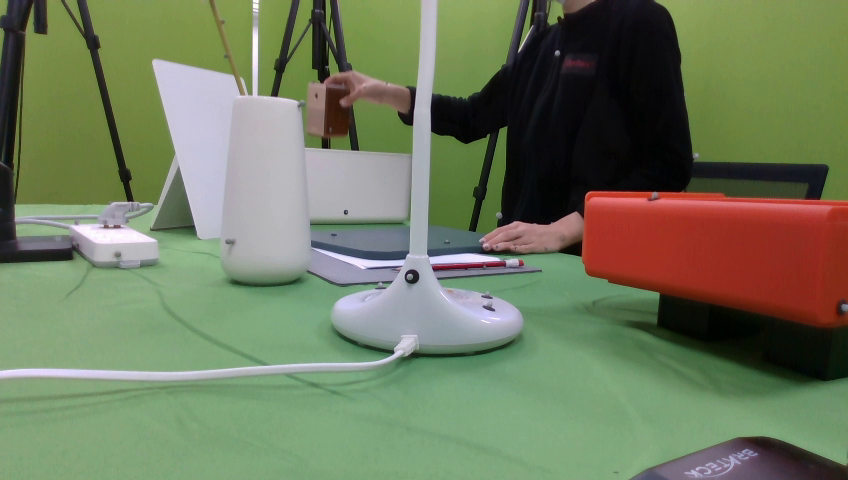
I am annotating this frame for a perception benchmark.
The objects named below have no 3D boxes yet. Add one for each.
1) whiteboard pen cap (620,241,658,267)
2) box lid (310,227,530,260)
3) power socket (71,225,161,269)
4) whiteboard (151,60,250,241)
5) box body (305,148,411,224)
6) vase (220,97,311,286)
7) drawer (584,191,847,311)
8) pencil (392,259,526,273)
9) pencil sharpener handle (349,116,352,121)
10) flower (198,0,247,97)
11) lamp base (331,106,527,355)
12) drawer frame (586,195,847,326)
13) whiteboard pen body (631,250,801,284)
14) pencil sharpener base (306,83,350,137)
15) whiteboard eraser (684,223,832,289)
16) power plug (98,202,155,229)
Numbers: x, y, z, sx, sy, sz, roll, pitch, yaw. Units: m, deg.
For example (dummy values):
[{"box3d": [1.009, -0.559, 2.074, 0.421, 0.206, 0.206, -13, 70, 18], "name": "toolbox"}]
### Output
[{"box3d": [0.199, 0.013, 0.557, 0.018, 0.018, 0.033, -4, 17, -40], "name": "whiteboard pen cap"}, {"box3d": [-0.024, 0.001, 1.023, 0.374, 0.015, 0.262, -4, 9, -44], "name": "box lid"}, {"box3d": [-0.408, 0.004, 0.793, 0.072, 0.032, 0.225, -2, 8, -38], "name": "power socket"}, {"box3d": [-0.408, -0.140, 1.094, 0.143, 0.305, 0.218, -15, 0, 25], "name": "whiteboard"}, {"box3d": [-0.233, -0.127, 1.374, 0.366, 0.160, 0.253, -2, 8, -29], "name": "box body"}, {"box3d": [-0.172, -0.052, 0.662, 0.098, 0.200, 0.098, 3, 8, 0], "name": "vase"}, {"box3d": [0.280, 0.001, 0.513, 0.195, 0.073, 0.211, 0, 8, -28], "name": "drawer"}, {"box3d": [0.049, 0.035, 0.782, 0.195, 0.012, 0.012, -3, 9, -25], "name": "pencil"}, {"box3d": [-0.170, -0.295, 1.325, 0.036, 0.067, 0.031, 16, 18, 36], "name": "pencil sharpener handle"}, {"box3d": [-0.187, -0.133, 0.648, 0.038, 0.362, 0.044, 0, 22, 43], "name": "flower"}, {"box3d": [0.006, -0.012, 0.478, 0.161, 0.180, 0.179, 2, 10, 2], "name": "lamp base"}, {"box3d": [0.284, 0.004, 0.508, 0.203, 0.082, 0.212, -1, 6, -28], "name": "drawer frame"}, {"box3d": [0.240, 0.020, 0.512, 0.017, 0.017, 0.140, -4, 8, -41], "name": "whiteboard pen body"}, {"box3d": [-0.203, -0.276, 1.288, 0.061, 0.107, 0.077, 16, 18, 36], "name": "pencil sharpener base"}, {"box3d": [0.305, 0.013, 0.558, 0.056, 0.042, 0.112, -9, 19, -31], "name": "whiteboard eraser"}, {"box3d": [-0.416, -0.027, 0.848, 0.073, 0.052, 0.035, 0, 8, -28], "name": "power plug"}]
